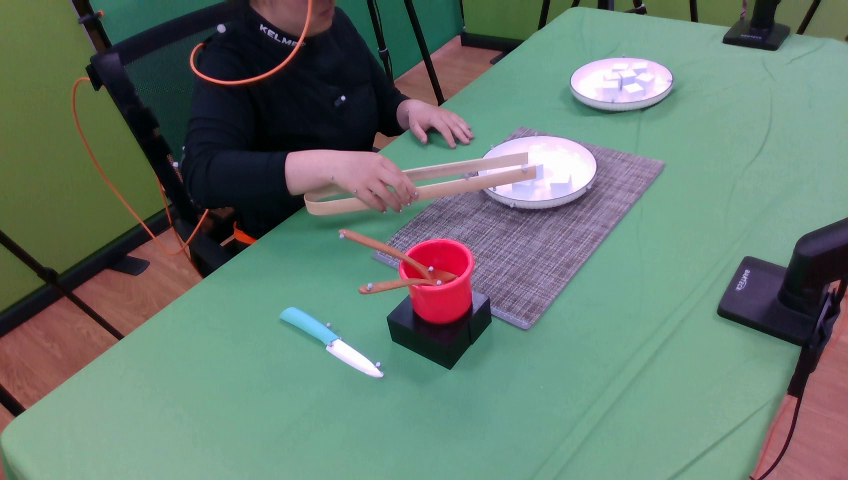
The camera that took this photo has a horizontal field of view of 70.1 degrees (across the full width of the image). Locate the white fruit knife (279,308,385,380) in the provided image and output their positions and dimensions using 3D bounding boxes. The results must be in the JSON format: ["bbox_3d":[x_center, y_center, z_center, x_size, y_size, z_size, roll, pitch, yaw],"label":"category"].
[{"bbox_3d":[-0.130,0.143,0.845,0.205,0.016,0.027,25,79,32],"label":"white fruit knife"}]

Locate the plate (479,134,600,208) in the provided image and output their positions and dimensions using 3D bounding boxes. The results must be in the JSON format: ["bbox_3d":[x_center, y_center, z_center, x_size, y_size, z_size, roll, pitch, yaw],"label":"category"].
[{"bbox_3d":[0.202,-0.117,1.065,0.207,0.039,0.206,-5,40,5],"label":"plate"}]

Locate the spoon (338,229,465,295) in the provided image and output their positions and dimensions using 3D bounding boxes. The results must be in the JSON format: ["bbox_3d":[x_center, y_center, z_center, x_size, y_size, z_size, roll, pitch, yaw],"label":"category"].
[{"bbox_3d":[-0.025,0.026,0.776,0.021,0.195,0.041,-41,34,31],"label":"spoon"}]

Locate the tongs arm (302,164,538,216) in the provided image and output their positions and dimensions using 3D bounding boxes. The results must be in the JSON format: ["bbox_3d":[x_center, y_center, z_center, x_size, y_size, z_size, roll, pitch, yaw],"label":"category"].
[{"bbox_3d":[-0.007,-0.087,0.991,0.385,0.026,0.050,-11,37,-4],"label":"tongs arm"}]

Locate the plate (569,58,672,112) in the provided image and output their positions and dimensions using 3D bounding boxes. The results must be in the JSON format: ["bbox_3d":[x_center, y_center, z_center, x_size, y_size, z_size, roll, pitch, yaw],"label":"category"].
[{"bbox_3d":[0.411,-0.323,1.274,0.209,0.038,0.208,-5,41,5],"label":"plate"}]

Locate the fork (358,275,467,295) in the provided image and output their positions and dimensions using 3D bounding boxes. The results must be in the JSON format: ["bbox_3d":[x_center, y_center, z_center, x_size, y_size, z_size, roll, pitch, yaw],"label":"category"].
[{"bbox_3d":[-0.009,0.056,0.739,0.028,0.018,0.209,48,23,26],"label":"fork"}]

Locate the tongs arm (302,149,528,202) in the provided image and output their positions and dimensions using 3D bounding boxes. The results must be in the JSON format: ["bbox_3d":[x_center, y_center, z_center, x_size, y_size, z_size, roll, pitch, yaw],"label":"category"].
[{"bbox_3d":[-0.011,-0.108,1.020,0.388,0.028,0.028,-11,41,-4],"label":"tongs arm"}]
